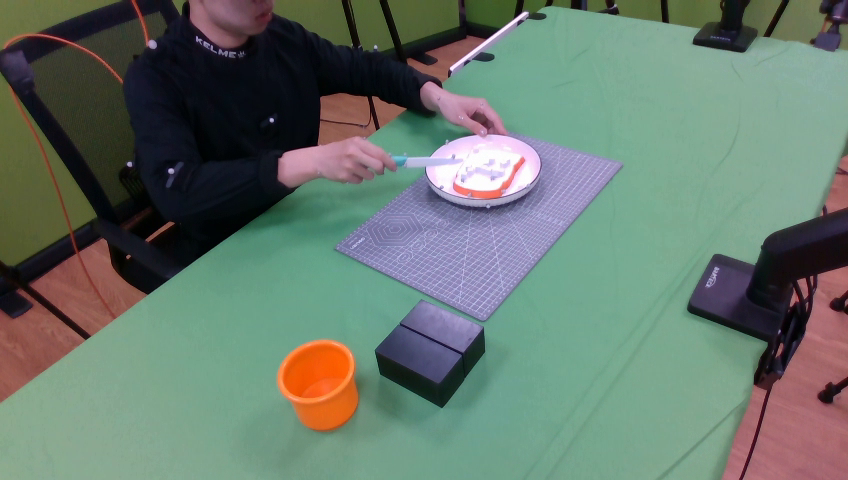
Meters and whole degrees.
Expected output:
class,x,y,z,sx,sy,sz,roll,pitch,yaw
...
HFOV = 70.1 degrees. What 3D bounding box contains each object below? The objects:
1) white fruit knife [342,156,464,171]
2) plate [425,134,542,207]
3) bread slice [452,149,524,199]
class,x,y,z,sx,sy,sz,roll,pitch,yaw
white fruit knife,-0.037,-0.129,1.005,0.207,0.027,0.016,-2,53,4
plate,0.106,-0.121,1.079,0.209,0.038,0.208,-4,40,4
bread slice,0.111,-0.119,1.078,0.104,0.019,0.131,11,44,21
